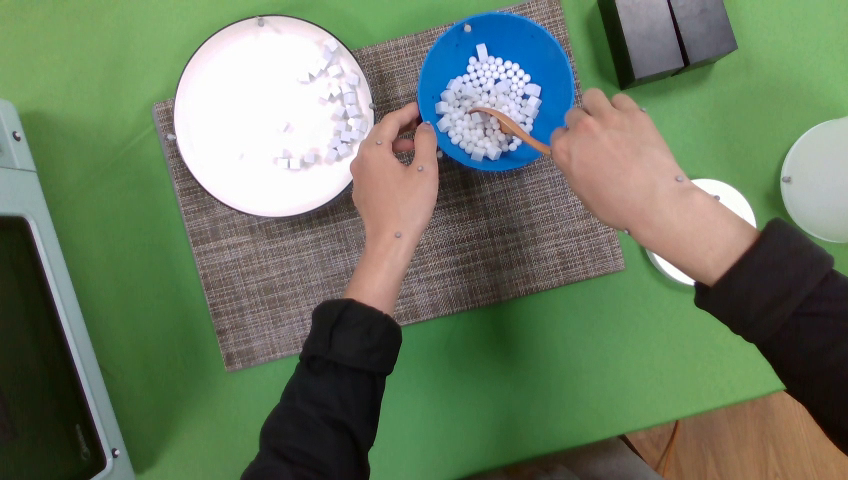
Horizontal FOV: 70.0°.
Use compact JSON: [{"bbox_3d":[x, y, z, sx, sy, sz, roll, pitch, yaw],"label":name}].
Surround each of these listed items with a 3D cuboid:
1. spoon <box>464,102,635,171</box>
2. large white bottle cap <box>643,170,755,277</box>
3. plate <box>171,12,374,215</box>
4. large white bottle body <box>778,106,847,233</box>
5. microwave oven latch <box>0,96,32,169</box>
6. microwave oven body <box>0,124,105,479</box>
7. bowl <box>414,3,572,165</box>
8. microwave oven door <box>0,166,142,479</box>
[{"bbox_3d":[0.109,-0.095,0.560,0.191,0.042,0.021,35,92,39],"label":"spoon"},{"bbox_3d":[0.294,-0.018,0.648,0.115,0.018,0.115,0,93,0],"label":"large white bottle cap"},{"bbox_3d":[-0.155,-0.129,0.635,0.209,0.038,0.209,0,92,1],"label":"plate"},{"bbox_3d":[0.439,-0.070,0.560,0.130,0.184,0.130,0,92,1],"label":"large white bottle body"},{"bbox_3d":[-0.437,-0.110,0.626,0.030,0.029,0.079,-18,93,1],"label":"microwave oven latch"},{"bbox_3d":[-0.529,0.106,0.541,0.326,0.260,0.442,-17,93,1],"label":"microwave oven body"},{"bbox_3d":[0.066,-0.148,0.612,0.151,0.077,0.151,0,93,1],"label":"bowl"},{"bbox_3d":[-0.376,0.102,0.534,0.039,0.243,0.356,-18,92,2],"label":"microwave oven door"}]
